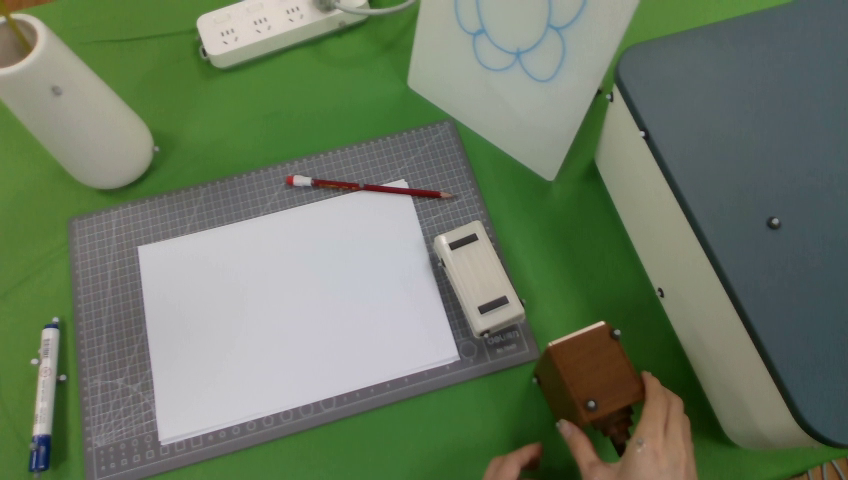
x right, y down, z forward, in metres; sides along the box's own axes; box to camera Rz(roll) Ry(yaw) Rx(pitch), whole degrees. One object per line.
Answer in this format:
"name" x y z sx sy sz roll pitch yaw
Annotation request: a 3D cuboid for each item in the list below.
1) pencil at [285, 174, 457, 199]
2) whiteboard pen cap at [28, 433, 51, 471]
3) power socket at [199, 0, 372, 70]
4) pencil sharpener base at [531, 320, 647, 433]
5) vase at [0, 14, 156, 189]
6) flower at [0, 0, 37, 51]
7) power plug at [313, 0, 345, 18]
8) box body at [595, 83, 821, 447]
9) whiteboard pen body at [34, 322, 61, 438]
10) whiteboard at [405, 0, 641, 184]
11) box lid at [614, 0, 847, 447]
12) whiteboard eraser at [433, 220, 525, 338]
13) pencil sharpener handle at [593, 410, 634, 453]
"pencil" -0.059 -0.058 0.677 0.194 0.012 0.012 7 67 3
"whiteboard pen cap" -0.362 0.199 0.570 0.018 0.018 0.033 -11 61 -2
"power socket" -0.173 -0.278 0.764 0.227 0.033 0.071 -21 69 -7
"pencil sharpener base" 0.144 0.128 0.541 0.061 0.108 0.076 -20 68 -7
"vase" -0.359 -0.133 0.619 0.098 0.201 0.097 -1 67 3
"flower" -0.361 -0.183 0.551 0.038 0.365 0.043 -28 50 -17
"power plug" -0.115 -0.281 0.738 0.035 0.053 0.072 -12 68 -2
"box body" 0.344 -0.015 0.564 0.254 0.161 0.361 -16 67 -5
"whiteboard pen body" -0.371 0.147 0.596 0.017 0.017 0.139 -12 63 -2
"whiteboard" 0.128 -0.252 0.628 0.216 0.307 0.143 38 54 17
"box lid" 0.341 -0.047 0.496 0.263 0.015 0.368 -16 67 -5
"whiteboard eraser" 0.055 0.039 0.614 0.055 0.042 0.112 -21 68 -9
"pencil sharpener handle" 0.166 0.164 0.511 0.036 0.068 0.030 -27 68 9
